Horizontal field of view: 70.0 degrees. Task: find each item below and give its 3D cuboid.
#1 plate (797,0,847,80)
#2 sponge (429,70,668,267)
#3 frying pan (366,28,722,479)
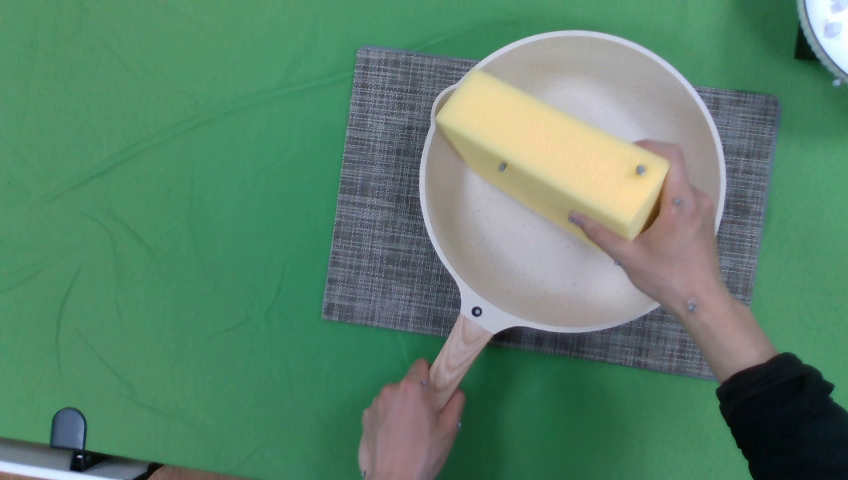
[{"bbox_3d":[0.450,-0.234,0.564,0.207,0.039,0.207,0,90,2],"label":"plate"},{"bbox_3d":[0.115,-0.066,0.556,0.205,0.119,0.061,34,86,30],"label":"sponge"},{"bbox_3d":[0.082,0.027,0.603,0.306,0.103,0.487,33,84,4],"label":"frying pan"}]
